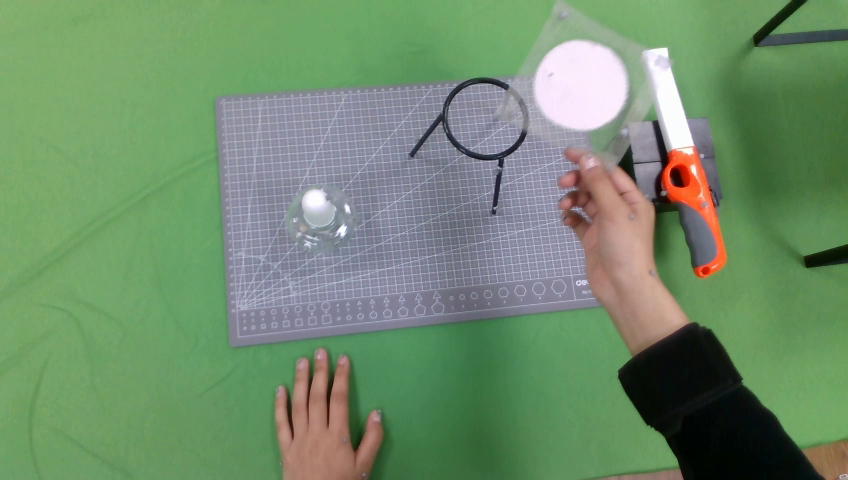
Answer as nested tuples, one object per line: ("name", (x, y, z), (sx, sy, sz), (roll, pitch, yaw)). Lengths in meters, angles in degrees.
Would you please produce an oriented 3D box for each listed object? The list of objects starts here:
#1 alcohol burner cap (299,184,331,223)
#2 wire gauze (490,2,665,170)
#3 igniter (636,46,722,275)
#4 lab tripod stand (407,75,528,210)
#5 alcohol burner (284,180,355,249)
("alcohol burner cap", (-0.113, -0.040, 0.619), (0.034, 0.048, 0.033), (2, 72, -5))
("wire gauze", (0.142, -0.141, 0.554), (0.121, 0.011, 0.125), (29, 83, 2))
("igniter", (0.294, -0.095, 0.700), (0.057, 0.025, 0.275), (-9, 78, -4))
("lab tripod stand", (0.057, -0.117, 0.674), (0.148, 0.132, 0.147), (1, 77, -4))
("alcohol burner", (-0.115, -0.031, 0.654), (0.078, 0.119, 0.077), (1, 81, -4))
